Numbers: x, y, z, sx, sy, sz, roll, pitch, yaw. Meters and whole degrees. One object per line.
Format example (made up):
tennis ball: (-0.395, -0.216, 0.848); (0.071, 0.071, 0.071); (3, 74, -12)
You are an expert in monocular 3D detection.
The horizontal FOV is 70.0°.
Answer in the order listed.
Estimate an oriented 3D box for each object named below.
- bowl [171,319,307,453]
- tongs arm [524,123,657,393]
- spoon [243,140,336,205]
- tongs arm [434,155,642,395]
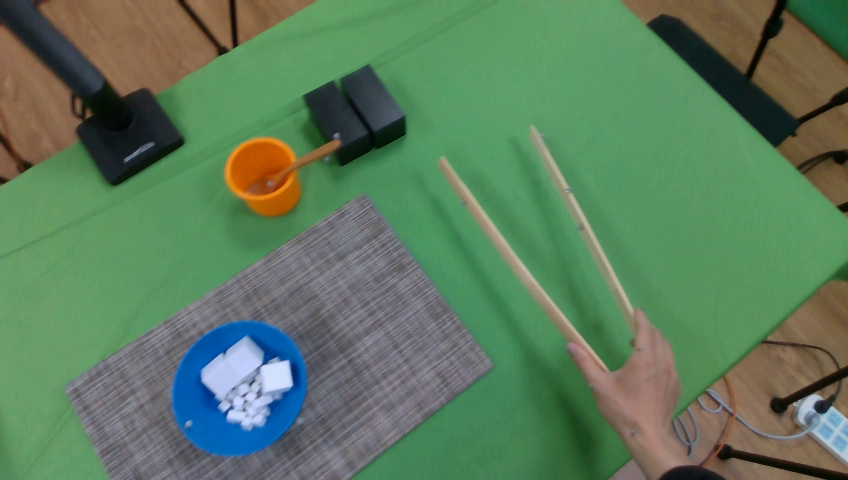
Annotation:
bowl: (-0.209, 0.176, 0.721); (0.151, 0.077, 0.150); (0, 70, -1)
tongs arm: (0.195, 0.007, 0.772); (0.051, 0.027, 0.381); (-18, 65, -15)
spoon: (-0.178, -0.089, 0.784); (0.022, 0.193, 0.041); (20, 60, -40)
tongs arm: (0.125, 0.035, 0.752); (0.028, 0.028, 0.384); (-28, 68, -23)
